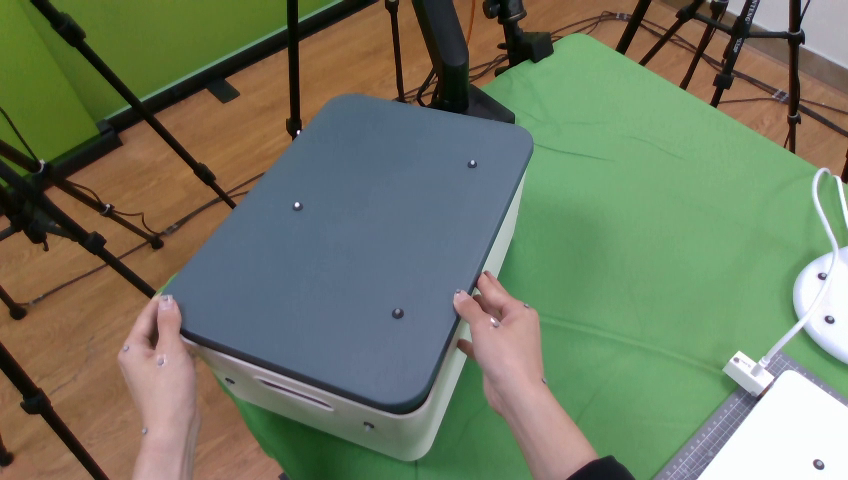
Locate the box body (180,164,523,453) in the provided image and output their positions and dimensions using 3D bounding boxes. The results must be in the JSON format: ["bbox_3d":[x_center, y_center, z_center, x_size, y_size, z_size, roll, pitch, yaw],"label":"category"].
[{"bbox_3d":[-0.056,0.025,0.690,0.253,0.162,0.362,16,56,13],"label":"box body"}]

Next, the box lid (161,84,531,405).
[{"bbox_3d":[-0.059,-0.030,0.618,0.262,0.015,0.369,16,53,15],"label":"box lid"}]

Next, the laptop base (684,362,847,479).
[{"bbox_3d":[0.431,0.303,0.558,0.235,0.023,0.351,-40,62,-19],"label":"laptop base"}]

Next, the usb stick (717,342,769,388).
[{"bbox_3d":[0.354,0.142,0.662,0.021,0.027,0.058,-32,62,-25],"label":"usb stick"}]

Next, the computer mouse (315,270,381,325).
[{"bbox_3d":[-0.090,0.062,0.726,0.063,0.041,0.116,-9,14,7],"label":"computer mouse"}]

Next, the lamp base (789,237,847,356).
[{"bbox_3d":[0.517,0.018,0.661,0.160,0.182,0.177,7,52,7],"label":"lamp base"}]

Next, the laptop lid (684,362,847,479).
[{"bbox_3d":[0.428,0.297,0.548,0.241,0.013,0.353,-38,61,-20],"label":"laptop lid"}]
